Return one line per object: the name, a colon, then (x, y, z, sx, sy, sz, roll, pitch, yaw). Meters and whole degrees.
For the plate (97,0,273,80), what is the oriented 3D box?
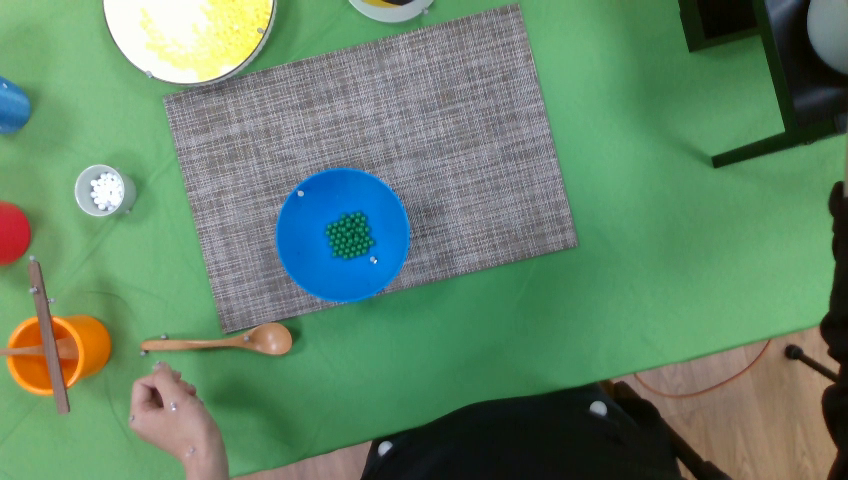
plate: (-0.281, -0.294, 0.725, 0.209, 0.038, 0.209, 0, 92, 1)

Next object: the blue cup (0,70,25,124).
blue cup: (-0.526, -0.173, 0.703, 0.092, 0.100, 0.092, 0, 92, 3)

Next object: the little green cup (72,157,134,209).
little green cup: (-0.386, -0.067, 0.734, 0.061, 0.038, 0.061, 0, 92, 2)

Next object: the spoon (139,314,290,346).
spoon: (-0.259, 0.114, 0.744, 0.194, 0.021, 0.042, -3, 105, 1)

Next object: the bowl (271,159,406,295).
bowl: (-0.092, -0.014, 0.705, 0.151, 0.077, 0.151, 0, 92, 2)

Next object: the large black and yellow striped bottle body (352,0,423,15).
large black and yellow striped bottle body: (-0.046, -0.335, 0.645, 0.131, 0.184, 0.130, 0, 91, 2)

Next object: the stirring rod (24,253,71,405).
stirring rod: (-0.424, 0.101, 0.682, 0.014, 0.006, 0.176, -13, 91, 1)

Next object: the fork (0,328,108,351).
fork: (-0.475, 0.117, 0.687, 0.209, 0.018, 0.028, 5, 94, -42)

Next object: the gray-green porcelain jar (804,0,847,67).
gray-green porcelain jar: (0.386, -0.202, 0.488, 0.106, 0.126, 0.106, 0, 91, 2)
